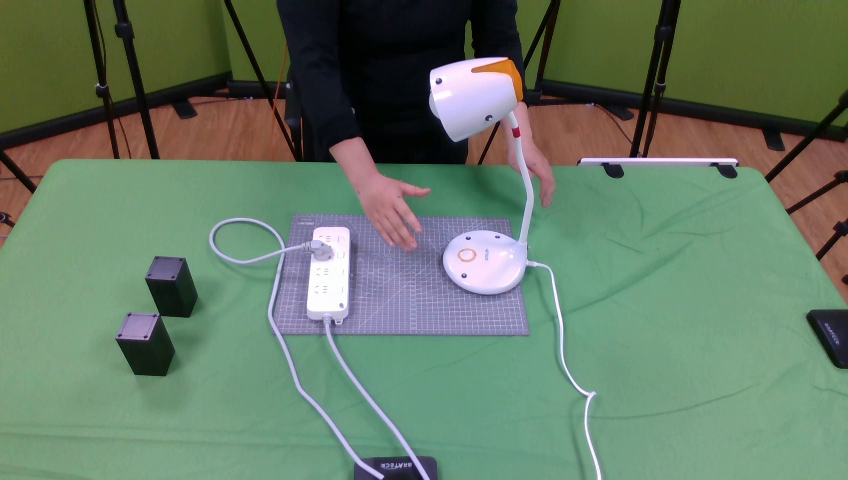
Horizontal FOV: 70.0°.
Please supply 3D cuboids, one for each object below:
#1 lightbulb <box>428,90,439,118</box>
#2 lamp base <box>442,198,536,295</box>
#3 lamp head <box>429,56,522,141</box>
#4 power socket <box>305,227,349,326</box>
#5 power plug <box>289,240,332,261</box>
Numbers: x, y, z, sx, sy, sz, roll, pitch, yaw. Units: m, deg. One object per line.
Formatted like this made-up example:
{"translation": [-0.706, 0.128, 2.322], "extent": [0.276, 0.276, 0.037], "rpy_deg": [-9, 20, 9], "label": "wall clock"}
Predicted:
{"translation": [0.057, -0.213, 0.889], "extent": [0.107, 0.060, 0.059], "rpy_deg": [-12, 41, 23], "label": "lightbulb"}
{"translation": [0.131, -0.013, 1.106], "extent": [0.179, 0.181, 0.159], "rpy_deg": [1, 46, -7], "label": "lamp base"}
{"translation": [0.082, -0.212, 0.882], "extent": [0.123, 0.113, 0.111], "rpy_deg": [-13, 44, 14], "label": "lamp head"}
{"translation": [-0.177, 0.058, 1.116], "extent": [0.072, 0.033, 0.225], "rpy_deg": [-1, 46, -4], "label": "power socket"}
{"translation": [-0.207, 0.022, 1.122], "extent": [0.072, 0.053, 0.035], "rpy_deg": [6, 45, 4], "label": "power plug"}
